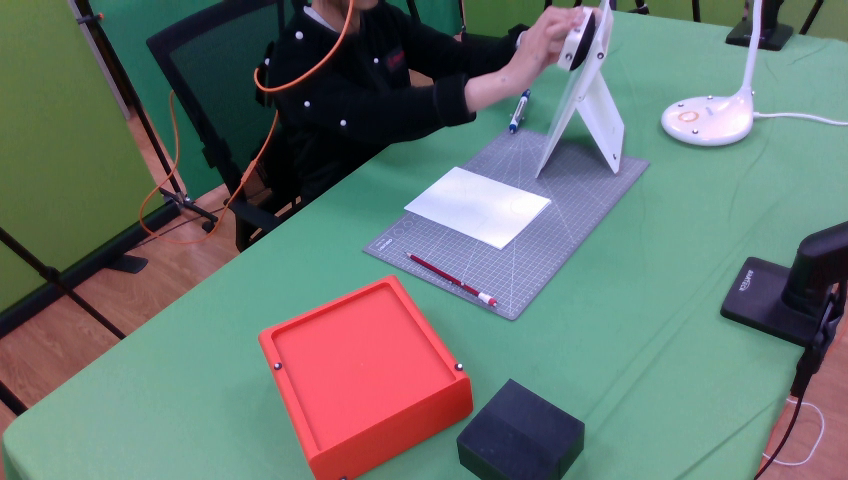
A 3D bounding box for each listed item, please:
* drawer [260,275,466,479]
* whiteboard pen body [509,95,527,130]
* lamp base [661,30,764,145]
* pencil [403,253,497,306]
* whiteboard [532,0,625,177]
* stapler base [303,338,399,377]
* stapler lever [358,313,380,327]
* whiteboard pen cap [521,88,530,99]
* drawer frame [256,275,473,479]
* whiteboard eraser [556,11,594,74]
[{"bbox_3d":[-0.080,0.162,0.760,0.195,0.073,0.210,-22,42,-16],"label":"drawer"},{"bbox_3d":[0.199,-0.273,1.261,0.017,0.017,0.140,7,44,18],"label":"whiteboard pen body"},{"bbox_3d":[0.535,-0.287,1.096,0.179,0.181,0.159,-10,40,-4],"label":"lamp base"},{"bbox_3d":[0.034,0.056,0.914,0.192,0.012,0.012,27,52,38],"label":"pencil"},{"bbox_3d":[0.321,-0.258,1.050,0.144,0.306,0.217,21,45,5],"label":"whiteboard"},{"bbox_3d":[-0.099,0.150,0.805,0.130,0.024,0.041,-13,25,1],"label":"stapler base"},{"bbox_3d":[-0.106,0.127,0.792,0.118,0.040,0.026,-15,25,2],"label":"stapler lever"},{"bbox_3d":[0.218,-0.312,1.301,0.018,0.018,0.033,6,47,17],"label":"whiteboard pen cap"},{"bbox_3d":[-0.078,0.164,0.756,0.202,0.083,0.211,-23,43,-17],"label":"drawer frame"},{"bbox_3d":[0.242,-0.313,0.958,0.042,0.056,0.112,19,49,7],"label":"whiteboard eraser"}]
